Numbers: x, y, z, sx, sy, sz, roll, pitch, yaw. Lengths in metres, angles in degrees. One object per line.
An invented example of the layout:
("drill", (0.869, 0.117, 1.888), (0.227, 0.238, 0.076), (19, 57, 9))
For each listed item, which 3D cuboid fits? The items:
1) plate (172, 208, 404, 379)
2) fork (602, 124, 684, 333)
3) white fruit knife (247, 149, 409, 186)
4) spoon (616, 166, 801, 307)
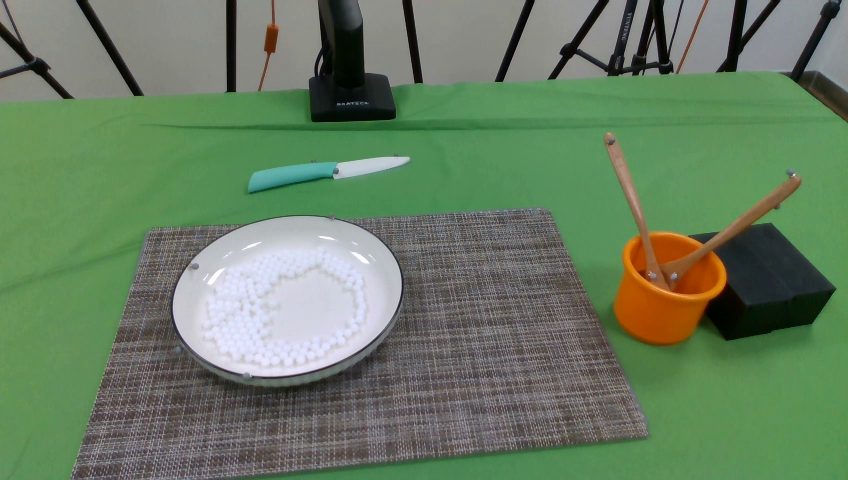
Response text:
("plate", (-0.123, 0.047, 0.569), (0.209, 0.038, 0.207), (2, 42, -1))
("fork", (0.206, -0.013, 0.577), (0.028, 0.018, 0.207), (-17, 90, -6))
("white fruit knife", (-0.116, -0.095, 0.753), (0.208, 0.016, 0.027), (-11, 72, -18))
("spoon", (0.263, -0.002, 0.564), (0.041, 0.194, 0.022), (53, 22, 8))
